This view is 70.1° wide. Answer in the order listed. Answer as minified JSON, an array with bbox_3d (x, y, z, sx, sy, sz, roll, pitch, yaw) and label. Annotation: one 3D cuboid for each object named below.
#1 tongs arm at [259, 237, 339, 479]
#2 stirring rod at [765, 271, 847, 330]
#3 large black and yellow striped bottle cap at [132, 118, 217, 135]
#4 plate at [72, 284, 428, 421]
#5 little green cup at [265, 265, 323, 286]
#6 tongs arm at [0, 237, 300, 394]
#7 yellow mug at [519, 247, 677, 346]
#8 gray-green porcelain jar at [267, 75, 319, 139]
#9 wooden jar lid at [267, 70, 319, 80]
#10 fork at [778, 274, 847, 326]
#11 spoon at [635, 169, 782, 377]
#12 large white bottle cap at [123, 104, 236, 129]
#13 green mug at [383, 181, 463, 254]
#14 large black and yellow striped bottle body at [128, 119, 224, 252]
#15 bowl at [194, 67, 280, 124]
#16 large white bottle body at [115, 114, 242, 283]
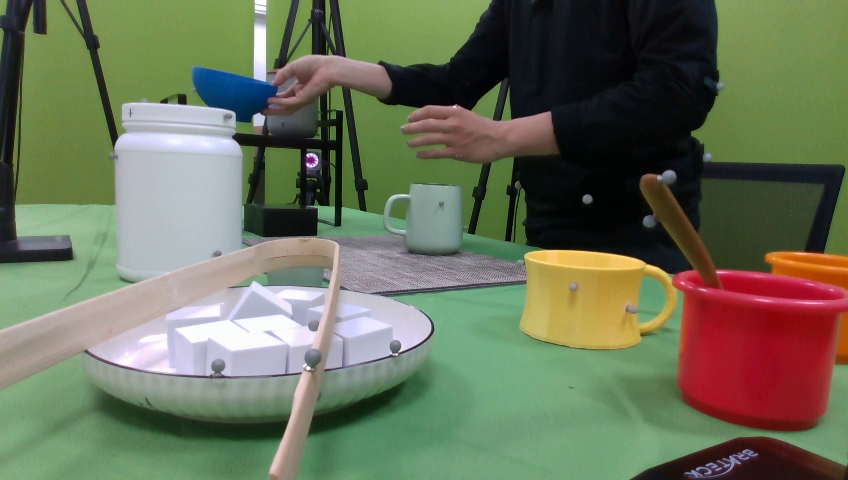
[{"bbox_3d":[-0.074,0.040,0.345,0.051,0.026,0.384,-2,9,-3],"label":"tongs arm"},{"bbox_3d":[0.352,0.020,0.481,0.176,0.006,0.014,-40,-8,17],"label":"stirring rod"},{"bbox_3d":[-0.359,-0.164,0.875,0.115,0.019,0.115,2,6,0],"label":"large black and yellow striped bottle cap"},{"bbox_3d":[-0.102,0.067,0.381,0.208,0.039,0.207,3,7,0],"label":"plate"},{"bbox_3d":[-0.134,0.033,0.628,0.061,0.038,0.061,3,7,0],"label":"little green cup"},{"bbox_3d":[-0.158,0.039,0.346,0.028,0.028,0.388,-3,8,11],"label":"tongs arm"},{"bbox_3d":[0.148,0.045,0.513,0.131,0.064,0.100,3,7,0],"label":"yellow mug"},{"bbox_3d":[-0.277,-0.278,1.280,0.106,0.126,0.106,1,8,0],"label":"gray-green porcelain jar"},{"bbox_3d":[-0.275,-0.340,1.271,0.108,0.020,0.108,5,6,0],"label":"wooden jar lid"},{"bbox_3d":[0.332,0.019,0.443,0.028,0.018,0.207,-3,-35,-16],"label":"fork"},{"bbox_3d":[0.161,0.026,0.346,0.021,0.194,0.041,-51,32,-19],"label":"spoon"},{"bbox_3d":[-0.266,-0.135,0.663,0.115,0.018,0.115,3,7,0],"label":"large white bottle cap"},{"bbox_3d":[-0.001,-0.036,0.922,0.126,0.105,0.092,0,8,-16],"label":"green mug"},{"bbox_3d":[-0.361,-0.081,0.887,0.131,0.184,0.130,2,8,0],"label":"large black and yellow striped bottle body"},{"bbox_3d":[-0.343,-0.257,1.096,0.151,0.077,0.151,13,11,-2],"label":"bowl"},{"bbox_3d":[-0.270,-0.051,0.673,0.131,0.184,0.130,2,8,0],"label":"large white bottle body"}]
